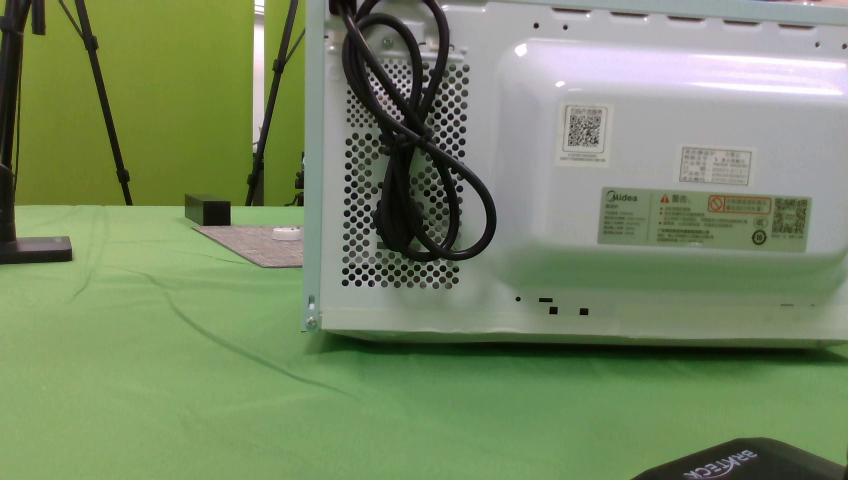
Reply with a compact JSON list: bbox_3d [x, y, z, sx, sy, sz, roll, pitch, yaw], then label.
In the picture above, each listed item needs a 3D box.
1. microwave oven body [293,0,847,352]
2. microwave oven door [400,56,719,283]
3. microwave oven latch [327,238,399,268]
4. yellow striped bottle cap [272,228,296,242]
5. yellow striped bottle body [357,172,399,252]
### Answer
[{"bbox_3d":[0.122,-0.055,0.550,0.442,0.260,0.325,3,7,-5],"label":"microwave oven body"},{"bbox_3d":[0.155,-0.078,0.698,0.356,0.243,0.039,2,8,-5],"label":"microwave oven door"},{"bbox_3d":[-0.069,0.015,0.694,0.079,0.029,0.030,3,7,-3],"label":"microwave oven latch"},{"bbox_3d":[-0.232,-0.008,1.012,0.044,0.018,0.044,4,9,0],"label":"yellow striped bottle cap"},{"bbox_3d":[-0.071,-0.044,0.933,0.063,0.120,0.063,2,8,0],"label":"yellow striped bottle body"}]
